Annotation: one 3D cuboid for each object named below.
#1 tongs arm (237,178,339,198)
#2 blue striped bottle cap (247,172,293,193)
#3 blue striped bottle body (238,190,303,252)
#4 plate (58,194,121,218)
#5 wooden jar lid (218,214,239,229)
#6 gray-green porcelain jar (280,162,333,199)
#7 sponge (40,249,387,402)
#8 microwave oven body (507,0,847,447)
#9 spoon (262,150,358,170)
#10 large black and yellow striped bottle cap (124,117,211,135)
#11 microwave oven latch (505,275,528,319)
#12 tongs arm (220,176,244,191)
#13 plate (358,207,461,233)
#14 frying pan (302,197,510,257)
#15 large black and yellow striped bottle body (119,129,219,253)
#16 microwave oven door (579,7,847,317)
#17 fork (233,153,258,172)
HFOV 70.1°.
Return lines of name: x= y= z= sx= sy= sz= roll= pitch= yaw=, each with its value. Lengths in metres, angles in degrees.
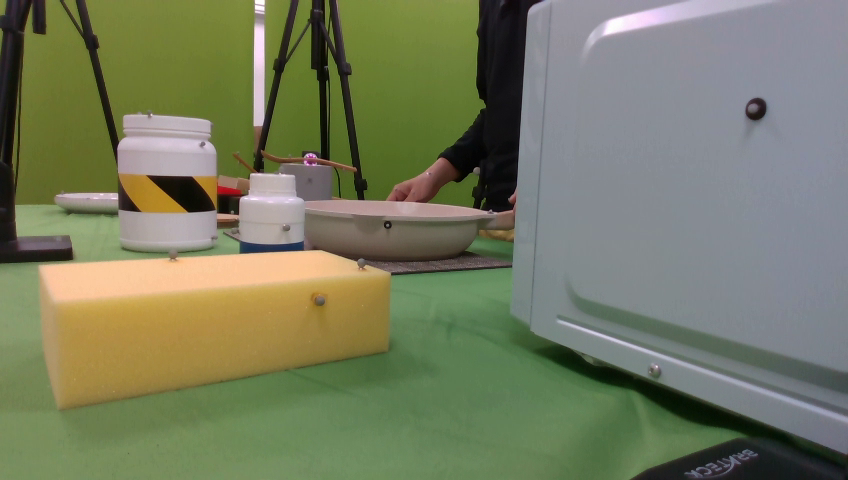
tongs arm: x=-0.242 y=-0.095 z=1.374 sx=0.387 sy=0.026 sz=0.050 roll=9 pitch=0 yaw=-37
blue striped bottle cap: x=-0.152 y=-0.057 z=0.598 sx=0.044 sy=0.020 sz=0.044 roll=3 pitch=7 yaw=0
blue striped bottle body: x=-0.153 y=-0.007 z=0.606 sx=0.063 sy=0.120 sz=0.063 roll=2 pitch=8 yaw=0
plate: x=-0.671 y=-0.074 z=1.310 sx=0.209 sy=0.038 sz=0.209 roll=2 pitch=8 yaw=0
wooden jar lid: x=-0.404 y=-0.037 z=1.169 sx=0.108 sy=0.020 sz=0.108 roll=3 pitch=7 yaw=0
gray-green porcelain jar: x=-0.238 y=-0.092 z=1.221 sx=0.106 sy=0.126 sz=0.106 roll=2 pitch=7 yaw=0
sponge: x=-0.142 y=0.047 z=0.420 sx=0.208 sy=0.061 sz=0.117 roll=-3 pitch=8 yaw=-36
microwave oven body: x=0.331 y=-0.042 z=0.425 sx=0.444 sy=0.260 sz=0.324 roll=-2 pitch=8 yaw=-31
spoon: x=-0.229 y=-0.162 z=1.222 sx=0.194 sy=0.021 sz=0.041 roll=4 pitch=5 yaw=-16
large black and yellow striped bottle cap: x=-0.366 y=-0.163 z=0.866 sx=0.115 sy=0.019 sz=0.115 roll=3 pitch=7 yaw=0
microwave oven latch: x=0.100 y=0.041 z=0.471 sx=0.079 sy=0.029 sz=0.030 roll=-1 pitch=7 yaw=-28
tongs arm: x=-0.285 y=-0.104 z=1.445 sx=0.389 sy=0.027 sz=0.028 roll=9 pitch=-4 yaw=-24
plate: x=-0.030 y=-0.041 z=1.214 sx=0.208 sy=0.039 sz=0.207 roll=3 pitch=6 yaw=0
frying pan: x=0.050 y=-0.035 z=0.915 sx=0.487 sy=0.102 sz=0.307 roll=-5 pitch=7 yaw=10
large black and yellow striped bottle body: x=-0.367 y=-0.080 z=0.876 sx=0.131 sy=0.184 sz=0.130 roll=2 pitch=7 yaw=0
microwave oven door: x=0.294 y=-0.067 z=0.570 sx=0.358 sy=0.243 sz=0.039 roll=-3 pitch=9 yaw=-31
fork: x=-0.396 y=-0.143 z=1.486 sx=0.028 sy=0.018 sz=0.208 roll=21 pitch=-25 yaw=45
